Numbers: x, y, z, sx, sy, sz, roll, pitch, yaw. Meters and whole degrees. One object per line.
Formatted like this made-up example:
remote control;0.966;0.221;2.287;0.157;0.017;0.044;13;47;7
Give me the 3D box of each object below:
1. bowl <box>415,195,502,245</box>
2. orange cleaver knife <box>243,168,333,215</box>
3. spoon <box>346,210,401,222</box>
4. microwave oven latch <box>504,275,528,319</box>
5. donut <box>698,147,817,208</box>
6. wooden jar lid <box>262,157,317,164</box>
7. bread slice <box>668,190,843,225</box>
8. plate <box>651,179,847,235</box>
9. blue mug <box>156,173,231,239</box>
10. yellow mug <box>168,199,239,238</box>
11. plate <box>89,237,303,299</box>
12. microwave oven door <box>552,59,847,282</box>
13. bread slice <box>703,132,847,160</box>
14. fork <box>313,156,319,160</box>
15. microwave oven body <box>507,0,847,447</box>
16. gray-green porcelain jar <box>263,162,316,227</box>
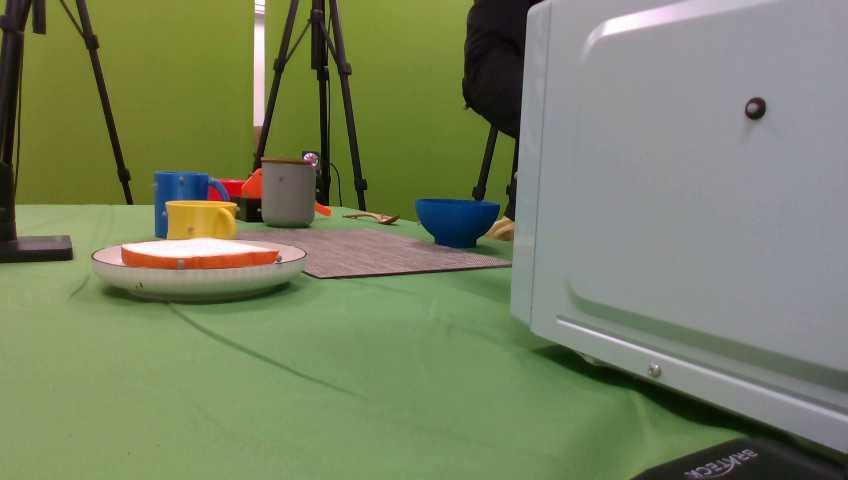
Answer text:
bowl;0.059;-0.035;1.049;0.151;0.077;0.151;2;7;0
orange cleaver knife;-0.300;-0.089;1.352;0.212;0.077;0.012;29;-9;-34
spoon;-0.121;-0.060;1.400;0.042;0.021;0.192;-27;24;-38
microwave oven latch;0.100;0.042;0.471;0.079;0.029;0.030;-1;7;-28
donut;0.307;-0.059;0.563;0.099;0.048;0.099;-10;11;2
wooden jar lid;-0.269;-0.154;1.208;0.108;0.020;0.108;3;4;0
bread slice;0.318;-0.033;0.574;0.132;0.019;0.104;-8;9;-19
plate;0.320;-0.033;0.565;0.209;0.038;0.209;2;9;0
blue mug;-0.381;-0.057;1.004;0.117;0.106;0.082;0;8;-12
yellow mug;-0.320;-0.023;0.904;0.130;0.064;0.100;9;11;36
plate;-0.233;0.029;0.637;0.208;0.039;0.207;2;7;0
microwave oven door;0.328;-0.093;0.781;0.039;0.243;0.354;-5;10;-42
bread slice;0.328;-0.087;0.554;0.135;0.018;0.106;-9;9;-31
fork;-0.331;-0.144;1.506;0.207;0.018;0.028;-42;-18;22
microwave oven body;0.331;-0.042;0.426;0.444;0.260;0.324;-2;7;-31
gray-green porcelain jar;-0.271;-0.092;1.217;0.106;0.126;0.106;2;7;0
